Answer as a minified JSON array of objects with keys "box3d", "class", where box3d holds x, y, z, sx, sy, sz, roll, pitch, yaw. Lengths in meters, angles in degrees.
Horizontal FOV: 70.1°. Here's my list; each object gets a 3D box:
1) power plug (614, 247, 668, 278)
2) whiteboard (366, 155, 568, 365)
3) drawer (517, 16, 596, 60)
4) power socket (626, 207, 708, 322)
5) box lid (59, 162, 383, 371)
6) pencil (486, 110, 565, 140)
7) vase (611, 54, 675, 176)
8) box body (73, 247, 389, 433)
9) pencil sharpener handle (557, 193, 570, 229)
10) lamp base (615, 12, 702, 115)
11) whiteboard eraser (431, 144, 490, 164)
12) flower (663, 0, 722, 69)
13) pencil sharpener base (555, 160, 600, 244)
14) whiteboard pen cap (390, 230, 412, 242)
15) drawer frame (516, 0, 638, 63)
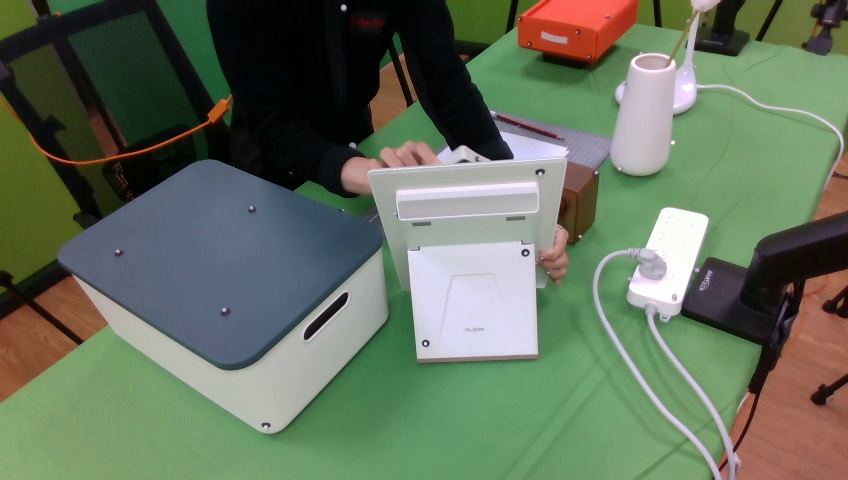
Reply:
[{"box3d":[0.306,0.031,0.851,0.072,0.053,0.035,24,49,33],"class":"power plug"},{"box3d":[0.059,0.050,0.738,0.217,0.307,0.143,-3,60,5],"class":"whiteboard"},{"box3d":[0.352,-0.506,1.405,0.193,0.073,0.212,23,49,32],"class":"drawer"},{"box3d":[0.359,0.026,0.886,0.072,0.033,0.227,16,46,26],"class":"power socket"},{"box3d":[-0.262,0.010,0.777,0.369,0.015,0.264,21,48,29],"class":"box lid"},{"box3d":[0.204,-0.232,1.226,0.192,0.012,0.012,29,52,33],"class":"pencil"},{"box3d":[0.377,-0.209,1.031,0.098,0.201,0.097,-3,40,3],"class":"vase"},{"box3d":[-0.255,0.065,0.827,0.361,0.161,0.255,21,48,29],"class":"box body"},{"box3d":[0.195,-0.038,0.908,0.035,0.068,0.031,23,50,32],"class":"pencil sharpener handle"},{"box3d":[0.484,-0.363,1.211,0.180,0.181,0.159,-15,41,-14],"class":"lamp base"},{"box3d":[0.024,-0.065,0.709,0.112,0.056,0.041,-29,54,40],"class":"whiteboard eraser"},{"box3d":[0.379,-0.261,0.965,0.044,0.362,0.038,21,53,5],"class":"flower"},{"box3d":[0.228,-0.057,0.945,0.061,0.107,0.077,24,50,31],"class":"pencil sharpener base"},{"box3d":[-0.036,-0.006,0.980,0.033,0.018,0.018,9,43,17],"class":"whiteboard pen cap"},{"box3d":[0.355,-0.508,1.410,0.200,0.083,0.214,23,51,32],"class":"drawer frame"}]
